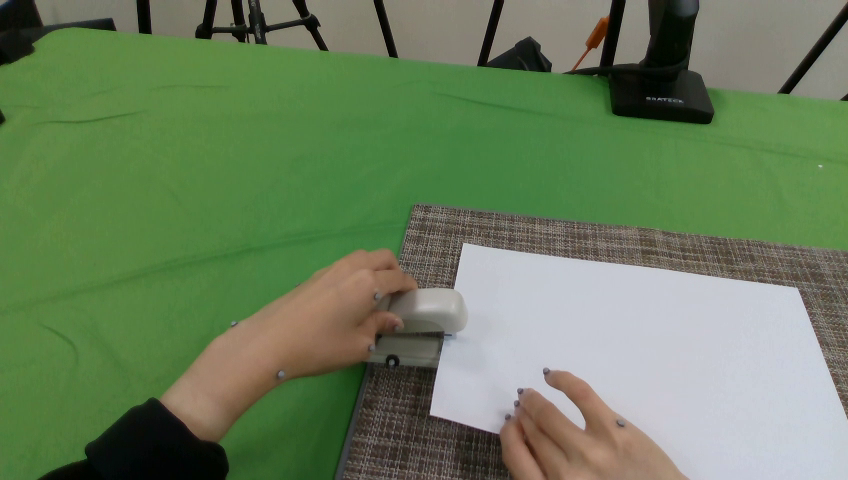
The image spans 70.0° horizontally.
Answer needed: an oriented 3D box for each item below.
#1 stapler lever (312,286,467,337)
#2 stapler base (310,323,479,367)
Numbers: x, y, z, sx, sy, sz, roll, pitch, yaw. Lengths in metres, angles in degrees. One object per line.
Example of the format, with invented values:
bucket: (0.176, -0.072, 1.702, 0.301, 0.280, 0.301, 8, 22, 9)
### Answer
stapler lever: (-0.026, 0.052, 0.453, 0.118, 0.040, 0.026, 3, 41, 8)
stapler base: (-0.023, 0.071, 0.471, 0.130, 0.024, 0.041, 3, 41, 8)
